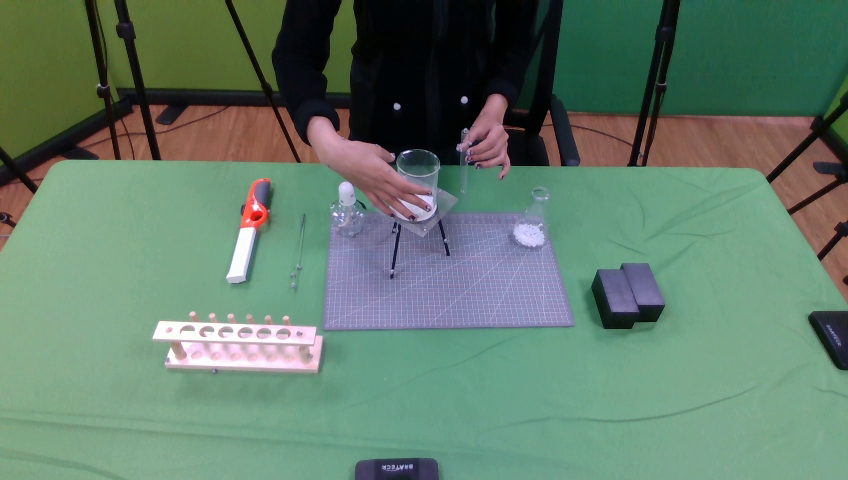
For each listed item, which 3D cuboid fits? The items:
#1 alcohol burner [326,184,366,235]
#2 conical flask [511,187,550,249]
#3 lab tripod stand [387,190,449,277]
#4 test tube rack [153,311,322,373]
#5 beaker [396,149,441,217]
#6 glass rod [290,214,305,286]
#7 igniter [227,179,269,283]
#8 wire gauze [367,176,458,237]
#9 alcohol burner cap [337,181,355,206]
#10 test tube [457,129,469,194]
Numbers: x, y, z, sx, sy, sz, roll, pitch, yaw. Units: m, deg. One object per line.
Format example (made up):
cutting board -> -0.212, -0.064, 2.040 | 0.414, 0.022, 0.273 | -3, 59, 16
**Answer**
alcohol burner -> -0.152, -0.066, 1.184 | 0.078, 0.119, 0.077 | 4, 46, -4
conical flask -> 0.217, -0.048, 1.190 | 0.075, 0.122, 0.075 | 2, 46, -2
lab tripod stand -> -0.021, -0.018, 1.135 | 0.148, 0.132, 0.147 | 3, 44, -3
test tube rack -> -0.293, 0.160, 0.978 | 0.242, 0.085, 0.066 | 3, 46, -2
beaker -> -0.015, -0.098, 1.053 | 0.074, 0.101, 0.083 | -31, 55, -30
glass rod -> -0.245, 0.015, 1.176 | 0.008, 0.008, 0.198 | 1, 43, -3
igniter -> -0.345, -0.027, 1.195 | 0.057, 0.025, 0.274 | -6, 46, 4
wire gauze -> -0.021, -0.066, 1.089 | 0.124, 0.011, 0.121 | 27, 47, 22
alcohol burner cap -> -0.151, -0.090, 1.158 | 0.034, 0.048, 0.033 | 0, 53, 0
test tube -> 0.073, -0.143, 1.136 | 0.017, 0.151, 0.017 | 0, 47, 0
